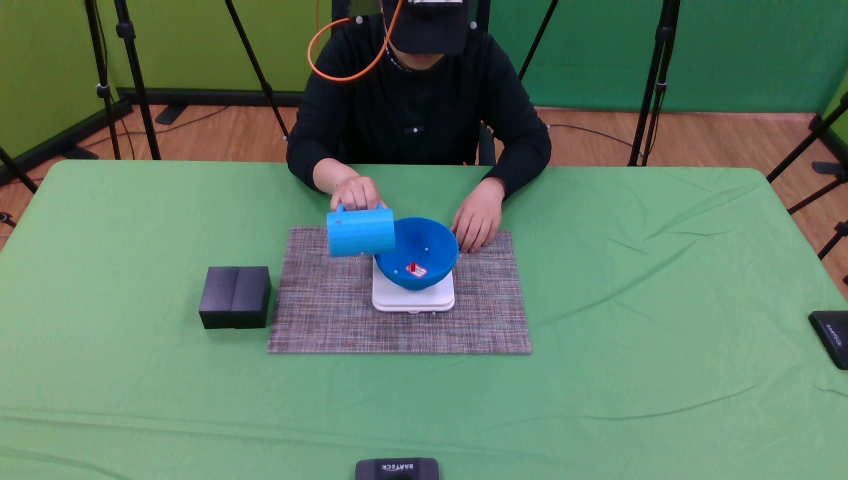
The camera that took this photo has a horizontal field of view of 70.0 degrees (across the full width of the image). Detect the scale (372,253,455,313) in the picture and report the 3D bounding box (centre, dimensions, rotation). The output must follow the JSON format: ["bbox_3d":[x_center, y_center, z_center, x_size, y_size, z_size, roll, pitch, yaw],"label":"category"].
[{"bbox_3d":[-0.022,0.051,1.134,0.149,0.032,0.199,1,46,-4],"label":"scale"}]

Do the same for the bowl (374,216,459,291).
[{"bbox_3d":[-0.015,0.036,1.075,0.151,0.077,0.150,1,46,-1],"label":"bowl"}]

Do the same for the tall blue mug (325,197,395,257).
[{"bbox_3d":[-0.108,-0.029,1.015,0.108,0.078,0.107,-5,80,-5],"label":"tall blue mug"}]
